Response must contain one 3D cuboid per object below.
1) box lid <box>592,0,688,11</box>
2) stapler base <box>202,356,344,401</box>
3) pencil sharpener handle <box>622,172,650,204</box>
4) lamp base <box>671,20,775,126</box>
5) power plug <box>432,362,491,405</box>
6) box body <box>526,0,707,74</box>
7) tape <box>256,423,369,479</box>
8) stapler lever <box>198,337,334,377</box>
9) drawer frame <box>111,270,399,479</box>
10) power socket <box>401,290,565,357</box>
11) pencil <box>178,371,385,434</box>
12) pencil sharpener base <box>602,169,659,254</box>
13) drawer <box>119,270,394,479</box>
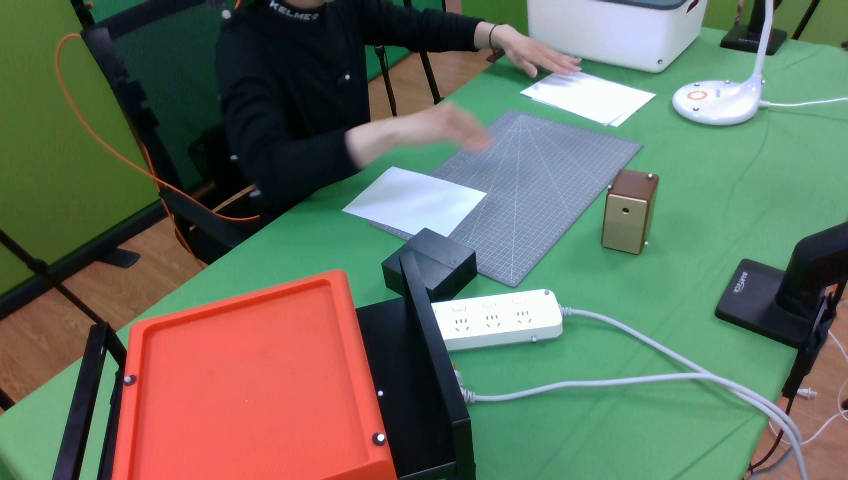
[{"bbox_3d":[0.441,-0.596,1.383,0.368,0.015,0.264,24,49,31],"label":"box lid"},{"bbox_3d":[-0.141,0.123,0.557,0.130,0.024,0.041,-2,43,3],"label":"stapler base"},{"bbox_3d":[0.328,-0.086,0.940,0.036,0.068,0.030,29,49,8],"label":"pencil sharpener handle"},{"bbox_3d":[0.582,-0.332,1.153,0.179,0.181,0.160,2,41,7],"label":"lamp base"},{"bbox_3d":[0.044,0.182,0.759,0.073,0.035,0.052,23,42,-19],"label":"power plug"},{"bbox_3d":[0.450,-0.540,1.430,0.361,0.161,0.255,24,50,31],"label":"box body"},{"bbox_3d":[-0.121,0.262,0.660,0.117,0.053,0.116,-4,40,4],"label":"tape"},{"bbox_3d":[-0.142,0.105,0.541,0.118,0.040,0.026,-3,43,4],"label":"stapler lever"},{"bbox_3d":[-0.140,0.140,0.506,0.202,0.083,0.212,-15,41,-9],"label":"drawer frame"},{"bbox_3d":[0.080,0.113,0.821,0.227,0.033,0.072,-6,41,0],"label":"power socket"},{"bbox_3d":[-0.128,0.141,0.534,0.194,0.012,0.012,13,44,7],"label":"pencil"},{"bbox_3d":[0.311,-0.044,0.913,0.061,0.107,0.077,14,45,24],"label":"pencil sharpener base"},{"bbox_3d":[-0.141,0.139,0.509,0.195,0.073,0.210,-14,41,-8],"label":"drawer"}]
